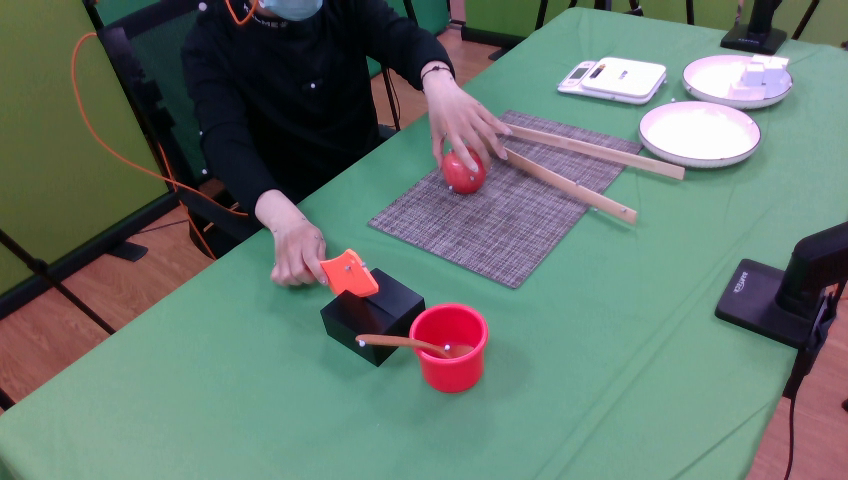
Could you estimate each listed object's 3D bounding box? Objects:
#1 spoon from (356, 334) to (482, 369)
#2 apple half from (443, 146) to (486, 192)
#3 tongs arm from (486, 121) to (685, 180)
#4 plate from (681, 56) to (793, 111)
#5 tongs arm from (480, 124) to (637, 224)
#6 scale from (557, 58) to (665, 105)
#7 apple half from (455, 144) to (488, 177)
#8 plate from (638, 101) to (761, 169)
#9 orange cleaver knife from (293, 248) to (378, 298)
[{"bbox_3d":[-0.001,0.130,0.731,0.195,0.021,0.041,21,28,-39],"label":"spoon"},{"bbox_3d":[0.063,-0.119,1.061,0.053,0.075,0.080,-38,52,-26],"label":"apple half"},{"bbox_3d":[0.288,-0.170,1.124,0.384,0.028,0.028,21,52,30],"label":"tongs arm"},{"bbox_3d":[0.636,-0.317,1.239,0.207,0.039,0.206,-4,40,4],"label":"plate"},{"bbox_3d":[0.228,-0.128,1.081,0.051,0.026,0.381,-33,46,-26],"label":"tongs arm"},{"bbox_3d":[0.406,-0.348,1.314,0.199,0.032,0.149,19,47,28],"label":"scale"},{"bbox_3d":[0.090,-0.140,1.080,0.033,0.081,0.080,-37,49,-26],"label":"apple half"},{"bbox_3d":[0.500,-0.189,1.111,0.209,0.038,0.208,-4,41,4],"label":"plate"},{"bbox_3d":[-0.130,0.050,0.867,0.012,0.077,0.210,-35,16,-32],"label":"orange cleaver knife"}]
